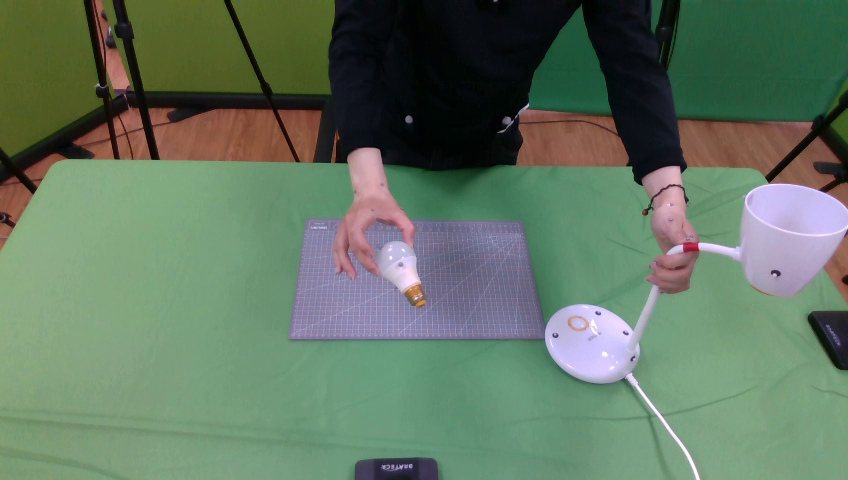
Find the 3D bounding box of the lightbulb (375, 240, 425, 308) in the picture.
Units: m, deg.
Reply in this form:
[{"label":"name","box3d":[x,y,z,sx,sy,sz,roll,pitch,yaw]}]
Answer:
[{"label":"lightbulb","box3d":[-0.030,0.050,0.867,0.059,0.060,0.107,-21,68,-22]}]

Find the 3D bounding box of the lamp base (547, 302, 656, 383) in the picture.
[{"label":"lamp base","box3d":[0.304,0.127,0.982,0.160,0.181,0.178,-33,59,-29]}]

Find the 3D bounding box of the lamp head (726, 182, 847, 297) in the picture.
[{"label":"lamp head","box3d":[0.429,0.006,0.726,0.112,0.123,0.111,1,39,0]}]
